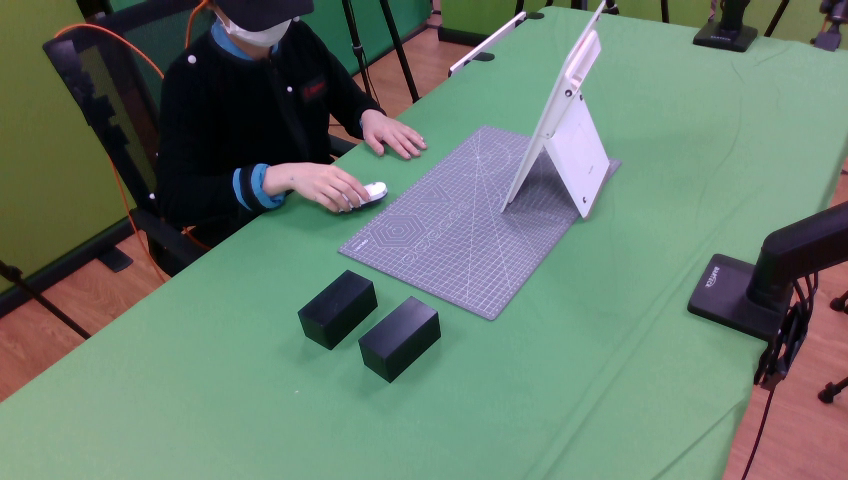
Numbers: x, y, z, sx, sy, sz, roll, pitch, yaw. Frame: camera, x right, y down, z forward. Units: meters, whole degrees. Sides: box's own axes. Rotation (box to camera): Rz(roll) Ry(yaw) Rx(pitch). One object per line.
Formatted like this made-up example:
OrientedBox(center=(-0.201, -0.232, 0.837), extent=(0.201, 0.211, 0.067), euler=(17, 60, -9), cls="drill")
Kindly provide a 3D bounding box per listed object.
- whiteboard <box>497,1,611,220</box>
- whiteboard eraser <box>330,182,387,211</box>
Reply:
OrientedBox(center=(0.259, -0.177, 0.963), extent=(0.143, 0.306, 0.217), euler=(28, 48, 9), cls="whiteboard")
OrientedBox(center=(-0.115, -0.077, 1.062), extent=(0.101, 0.019, 0.041), euler=(-18, 34, -2), cls="whiteboard eraser")
